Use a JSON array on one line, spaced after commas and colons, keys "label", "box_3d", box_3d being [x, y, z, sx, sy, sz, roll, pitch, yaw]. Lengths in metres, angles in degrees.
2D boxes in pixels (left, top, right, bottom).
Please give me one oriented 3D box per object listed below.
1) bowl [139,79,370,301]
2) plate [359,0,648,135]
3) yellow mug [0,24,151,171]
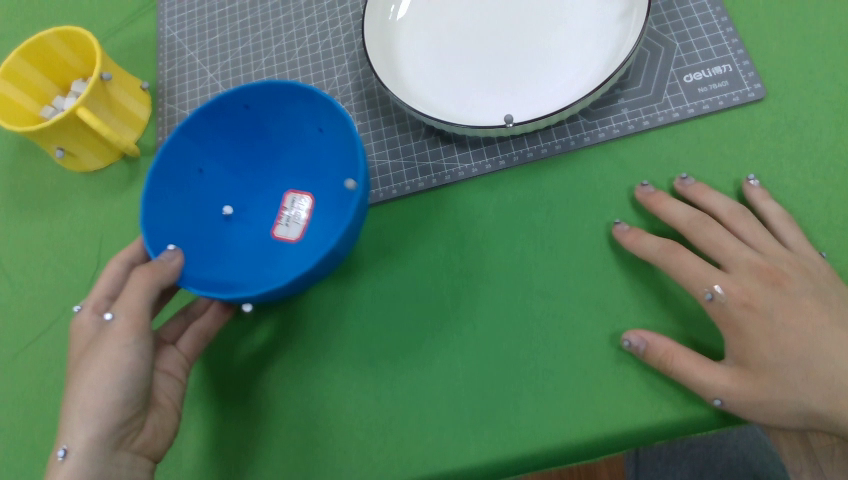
[{"label": "bowl", "box_3d": [-0.100, -0.023, 0.407, 0.151, 0.077, 0.150, -5, 68, 12]}, {"label": "plate", "box_3d": [0.056, -0.164, 0.448, 0.209, 0.038, 0.207, -4, 68, 11]}, {"label": "yellow mug", "box_3d": [-0.278, -0.108, 0.492, 0.130, 0.064, 0.100, 36, 80, 22]}]
